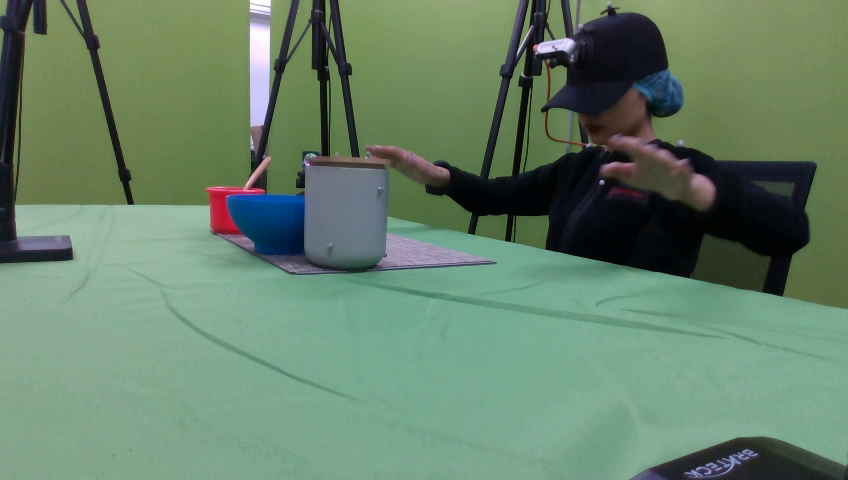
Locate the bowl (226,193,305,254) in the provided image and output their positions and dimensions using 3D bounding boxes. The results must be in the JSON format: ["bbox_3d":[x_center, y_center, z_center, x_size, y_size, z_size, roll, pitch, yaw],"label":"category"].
[{"bbox_3d":[-0.205,-0.024,0.866,0.151,0.077,0.151,3,7,0],"label":"bowl"}]

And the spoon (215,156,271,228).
[{"bbox_3d":[-0.319,-0.090,1.091,0.041,0.022,0.193,7,52,17],"label":"spoon"}]

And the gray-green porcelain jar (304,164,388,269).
[{"bbox_3d":[-0.099,-0.031,0.770,0.106,0.126,0.106,2,7,0],"label":"gray-green porcelain jar"}]

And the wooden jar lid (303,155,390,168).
[{"bbox_3d":[-0.097,-0.095,0.761,0.108,0.020,0.108,1,7,0],"label":"wooden jar lid"}]
